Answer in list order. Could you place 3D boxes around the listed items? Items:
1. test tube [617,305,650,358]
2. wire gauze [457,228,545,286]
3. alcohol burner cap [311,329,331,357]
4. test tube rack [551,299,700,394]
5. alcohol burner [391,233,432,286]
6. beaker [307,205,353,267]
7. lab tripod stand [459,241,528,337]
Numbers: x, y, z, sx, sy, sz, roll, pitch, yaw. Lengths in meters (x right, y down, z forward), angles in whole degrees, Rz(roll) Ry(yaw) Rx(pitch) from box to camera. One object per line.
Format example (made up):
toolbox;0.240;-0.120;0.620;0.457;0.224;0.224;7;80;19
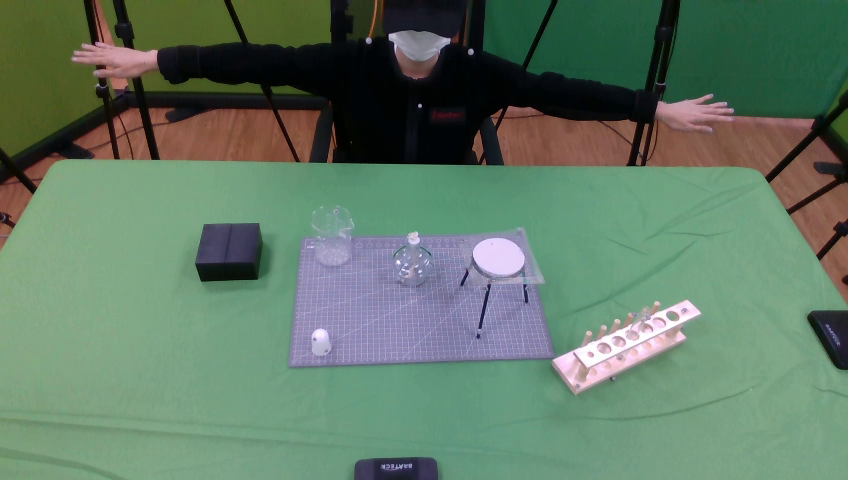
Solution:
test tube;0.333;0.149;0.967;0.017;0.151;0.017;0;52;1
wire gauze;0.126;0.029;1.006;0.125;0.011;0.120;-4;46;-10
alcohol burner cap;-0.173;0.168;1.004;0.034;0.048;0.033;2;46;-2
test tube rack;0.339;0.166;1.021;0.242;0.085;0.066;-19;50;-21
alcohol burner;-0.022;0.028;1.102;0.078;0.119;0.077;2;48;-2
beaker;-0.172;-0.004;1.131;0.084;0.101;0.073;15;47;8
lab tripod stand;0.122;0.075;1.054;0.148;0.132;0.147;3;44;-3
